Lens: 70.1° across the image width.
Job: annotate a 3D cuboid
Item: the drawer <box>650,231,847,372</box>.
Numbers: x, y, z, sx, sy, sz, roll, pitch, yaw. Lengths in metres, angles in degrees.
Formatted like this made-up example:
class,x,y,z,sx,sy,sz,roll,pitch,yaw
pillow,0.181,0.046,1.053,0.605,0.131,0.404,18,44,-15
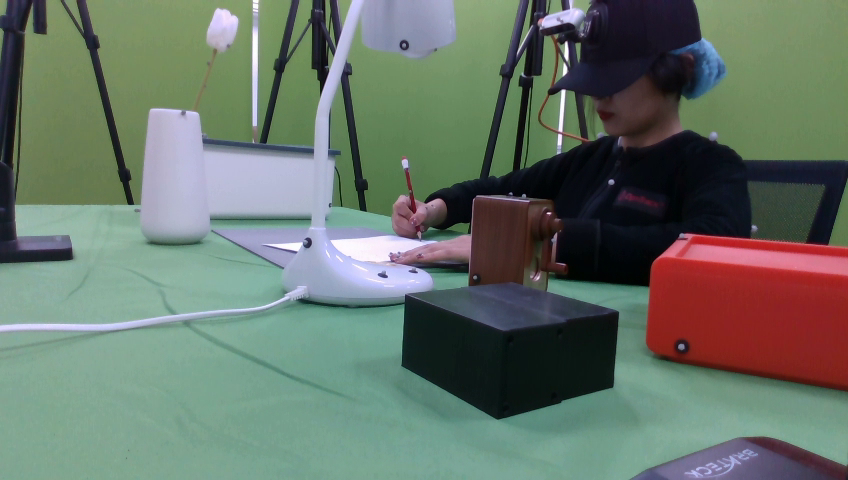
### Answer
class,x,y,z,sx,sy,sz,roll,pitch,yaw
drawer,0.303,0.044,0.499,0.194,0.073,0.212,7,9,27

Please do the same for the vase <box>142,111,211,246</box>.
class,x,y,z,sx,sy,sz,roll,pitch,yaw
vase,-0.378,-0.093,0.920,0.098,0.200,0.098,2,9,0

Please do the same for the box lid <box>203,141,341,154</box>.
class,x,y,z,sx,sy,sz,roll,pitch,yaw
box lid,-0.396,-0.212,1.373,0.373,0.015,0.262,-1,9,-29

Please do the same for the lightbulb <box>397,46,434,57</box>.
class,x,y,z,sx,sy,sz,roll,pitch,yaw
lightbulb,-0.017,-0.264,0.692,0.059,0.108,0.059,-9,29,5

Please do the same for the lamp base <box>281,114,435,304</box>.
class,x,y,z,sx,sy,sz,roll,pitch,yaw
lamp base,-0.071,-0.034,0.614,0.160,0.180,0.180,6,10,27

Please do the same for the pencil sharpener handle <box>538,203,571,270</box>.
class,x,y,z,sx,sy,sz,roll,pitch,yaw
pencil sharpener handle,0.137,-0.003,0.619,0.030,0.067,0.036,8,7,38

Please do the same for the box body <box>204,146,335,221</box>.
class,x,y,z,sx,sy,sz,roll,pitch,yaw
box body,-0.411,-0.135,1.386,0.366,0.160,0.253,-2,9,-29

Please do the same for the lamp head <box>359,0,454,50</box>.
class,x,y,z,sx,sy,sz,roll,pitch,yaw
lamp head,-0.024,-0.282,0.674,0.112,0.123,0.112,-3,38,3

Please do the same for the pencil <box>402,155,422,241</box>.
class,x,y,z,sx,sy,sz,roll,pitch,yaw
pencil,-0.021,-0.081,1.115,0.012,0.193,0.012,-9,-30,-5

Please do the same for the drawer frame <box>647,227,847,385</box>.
class,x,y,z,sx,sy,sz,roll,pitch,yaw
drawer frame,0.303,0.043,0.495,0.201,0.082,0.214,6,9,26

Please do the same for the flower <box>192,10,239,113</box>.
class,x,y,z,sx,sy,sz,roll,pitch,yaw
flower,-0.354,-0.174,0.915,0.038,0.361,0.044,18,-4,12

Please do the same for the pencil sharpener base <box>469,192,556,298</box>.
class,x,y,z,sx,sy,sz,roll,pitch,yaw
pencil sharpener base,0.097,0.003,0.652,0.076,0.107,0.061,8,9,38
